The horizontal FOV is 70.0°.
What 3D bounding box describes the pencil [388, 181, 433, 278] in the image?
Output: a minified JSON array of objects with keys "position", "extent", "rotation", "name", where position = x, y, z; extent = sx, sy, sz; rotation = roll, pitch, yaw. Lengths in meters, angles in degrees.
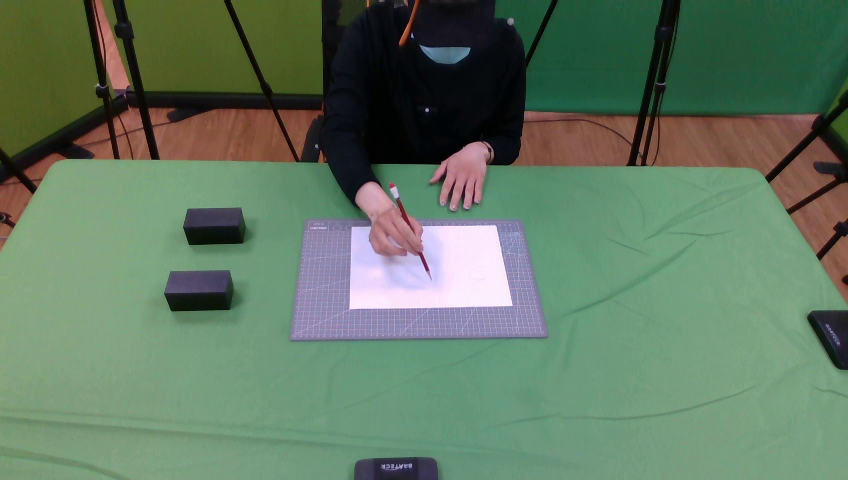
[{"position":[-0.022,-0.017,1.099],"extent":[0.012,0.194,0.012],"rotation":[-23,9,4],"name":"pencil"}]
